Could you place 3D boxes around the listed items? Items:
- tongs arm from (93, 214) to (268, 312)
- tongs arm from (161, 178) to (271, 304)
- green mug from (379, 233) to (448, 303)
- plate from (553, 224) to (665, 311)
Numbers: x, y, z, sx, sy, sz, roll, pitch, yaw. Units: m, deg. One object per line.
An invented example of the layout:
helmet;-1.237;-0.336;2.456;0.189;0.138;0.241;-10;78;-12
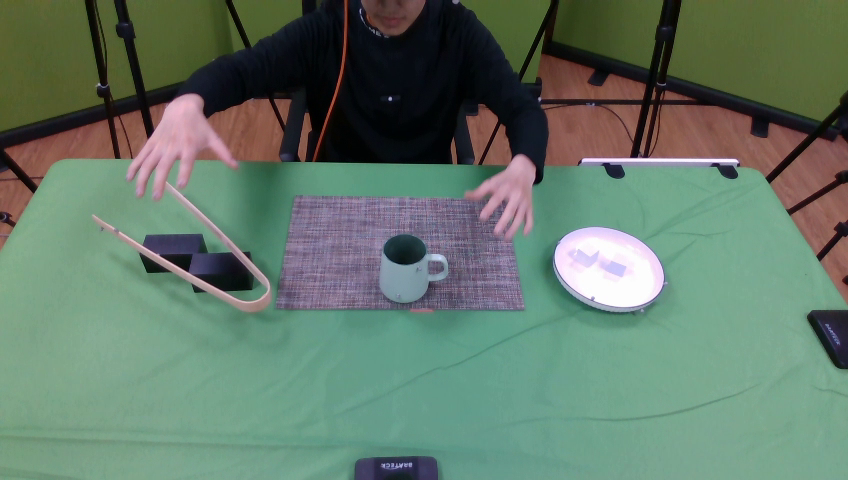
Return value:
tongs arm;-0.434;0.031;1.063;0.383;0.026;0.050;28;47;21
tongs arm;-0.386;-0.010;1.108;0.028;0.028;0.385;-29;54;-36
green mug;-0.018;0.051;1.084;0.125;0.105;0.092;0;46;-4
plate;0.349;0.055;1.159;0.209;0.038;0.208;2;47;-2
